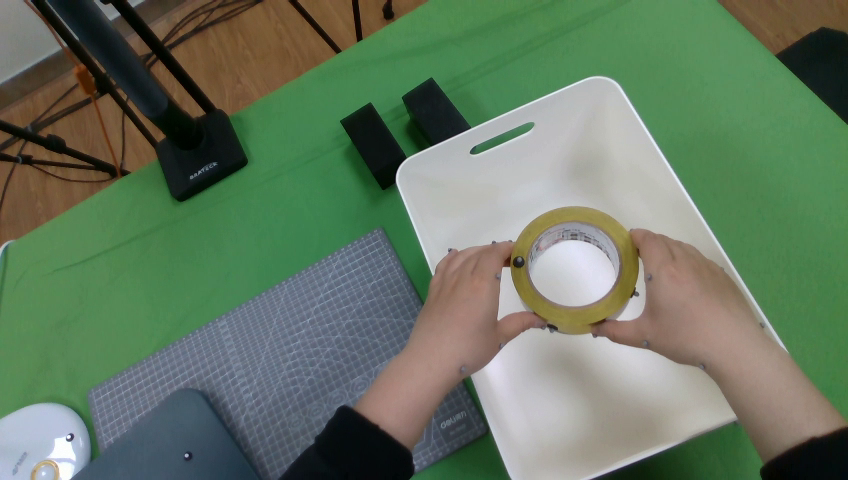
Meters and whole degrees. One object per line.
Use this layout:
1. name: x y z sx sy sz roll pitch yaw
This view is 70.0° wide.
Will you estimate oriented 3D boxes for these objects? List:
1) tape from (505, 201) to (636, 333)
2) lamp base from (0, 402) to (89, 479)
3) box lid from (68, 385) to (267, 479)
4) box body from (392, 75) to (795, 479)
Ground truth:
1. tape: 0.134 0.024 0.555 0.116 0.053 0.116 -4 72 12
2. lamp base: -0.530 0.257 0.707 0.178 0.182 0.159 6 70 18
3. box lid: -0.273 0.375 0.685 0.263 0.015 0.368 -42 68 -7
4. box body: 0.151 0.046 0.642 0.254 0.162 0.360 -24 65 3
